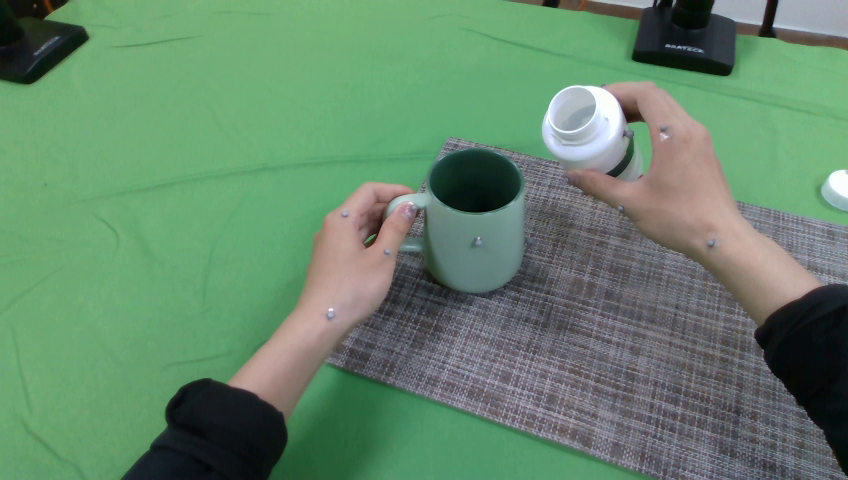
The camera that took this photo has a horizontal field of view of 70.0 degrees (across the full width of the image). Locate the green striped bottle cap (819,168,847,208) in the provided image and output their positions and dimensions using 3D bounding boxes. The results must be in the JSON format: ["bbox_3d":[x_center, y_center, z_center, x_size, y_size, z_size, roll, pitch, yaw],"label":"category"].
[{"bbox_3d":[0.417,-0.051,0.597,0.044,0.020,0.044,0,47,0],"label":"green striped bottle cap"}]

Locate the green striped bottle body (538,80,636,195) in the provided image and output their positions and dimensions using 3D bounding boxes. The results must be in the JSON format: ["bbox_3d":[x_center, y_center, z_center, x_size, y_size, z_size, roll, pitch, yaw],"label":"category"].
[{"bbox_3d":[0.134,-0.085,0.498,0.063,0.120,0.063,-9,70,26],"label":"green striped bottle body"}]

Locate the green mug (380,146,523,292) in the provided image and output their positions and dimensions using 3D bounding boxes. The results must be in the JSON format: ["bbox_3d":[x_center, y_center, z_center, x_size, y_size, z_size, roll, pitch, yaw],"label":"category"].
[{"bbox_3d":[0.025,-0.014,0.521,0.125,0.106,0.091,-6,50,-2],"label":"green mug"}]
